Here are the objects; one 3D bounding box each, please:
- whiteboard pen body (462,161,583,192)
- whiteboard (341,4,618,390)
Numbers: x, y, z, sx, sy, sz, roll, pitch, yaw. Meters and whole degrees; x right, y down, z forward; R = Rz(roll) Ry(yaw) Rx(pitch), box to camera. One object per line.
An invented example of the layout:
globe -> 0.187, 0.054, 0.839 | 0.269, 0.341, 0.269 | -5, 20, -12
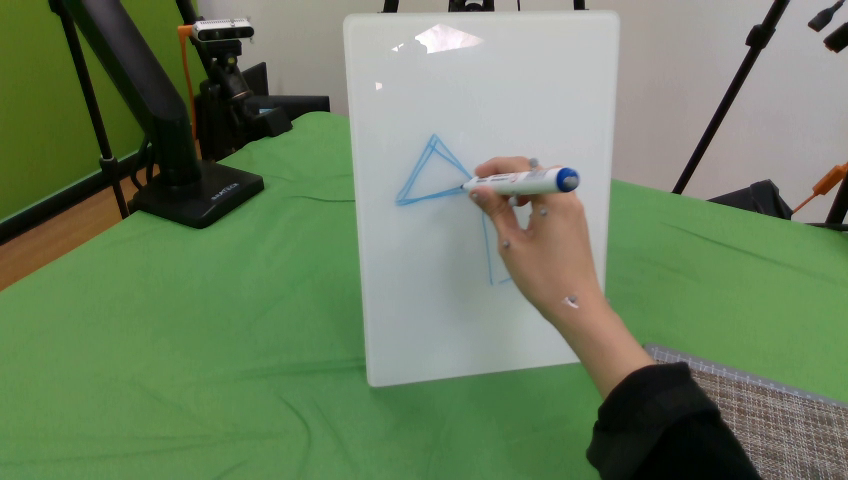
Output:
whiteboard pen body -> 0.061, -0.042, 0.423 | 0.017, 0.017, 0.140 | -16, 9, -24
whiteboard -> 0.041, -0.045, 0.558 | 0.218, 0.307, 0.143 | -5, 16, -9
